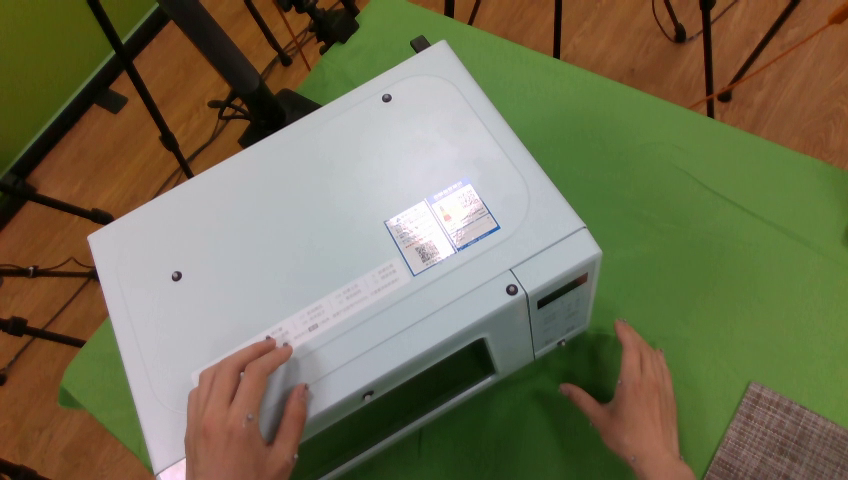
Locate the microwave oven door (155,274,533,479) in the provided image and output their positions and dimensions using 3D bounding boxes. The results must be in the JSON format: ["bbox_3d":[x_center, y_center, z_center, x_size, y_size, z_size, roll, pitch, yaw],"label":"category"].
[{"bbox_3d":[-0.051,0.169,0.627,0.356,0.246,0.039,-30,63,-3],"label":"microwave oven door"}]

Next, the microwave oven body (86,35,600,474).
[{"bbox_3d":[-0.081,0.038,0.697,0.442,0.262,0.323,-30,64,-2],"label":"microwave oven body"}]

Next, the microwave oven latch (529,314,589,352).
[{"bbox_3d":[0.159,0.103,0.728,0.079,0.030,0.030,-28,64,-1],"label":"microwave oven latch"}]

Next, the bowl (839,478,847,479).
[{"bbox_3d":[0.418,0.307,0.576,0.151,0.077,0.150,-4,65,10],"label":"bowl"}]
